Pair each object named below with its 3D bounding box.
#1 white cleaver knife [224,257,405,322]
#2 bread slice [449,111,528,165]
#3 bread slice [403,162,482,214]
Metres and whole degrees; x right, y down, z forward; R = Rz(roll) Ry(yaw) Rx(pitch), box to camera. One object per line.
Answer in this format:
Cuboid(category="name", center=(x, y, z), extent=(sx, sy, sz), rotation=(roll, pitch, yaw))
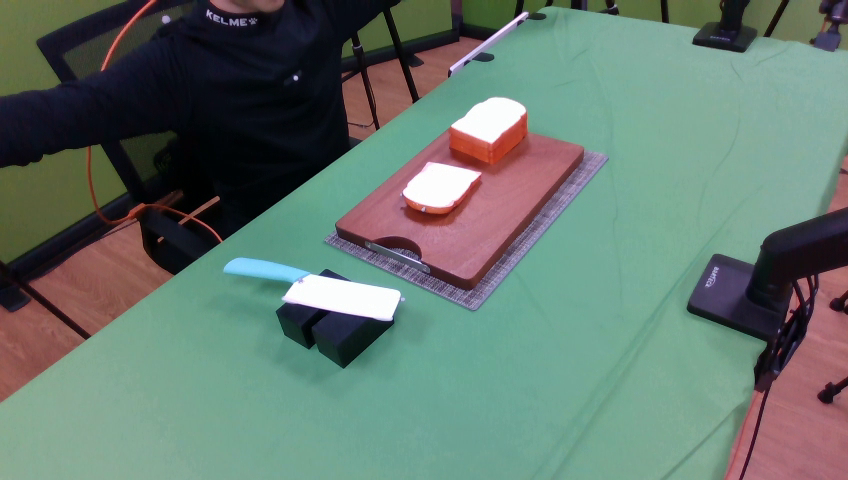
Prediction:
Cuboid(category="white cleaver knife", center=(-0.165, 0.066, 0.851), extent=(0.285, 0.021, 0.066), rotation=(9, 43, 21))
Cuboid(category="bread slice", center=(0.130, -0.197, 1.133), extent=(0.135, 0.018, 0.106), rotation=(-37, 51, -26))
Cuboid(category="bread slice", center=(0.024, -0.088, 1.021), extent=(0.104, 0.019, 0.132), rotation=(16, 40, 22))
